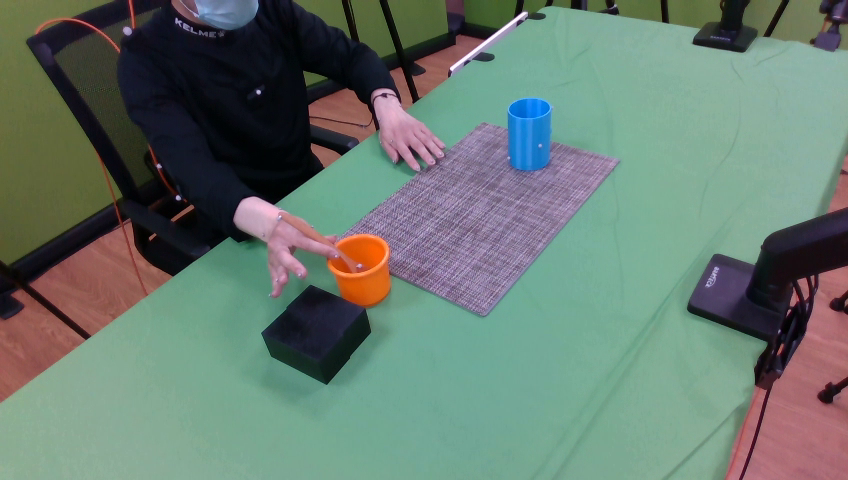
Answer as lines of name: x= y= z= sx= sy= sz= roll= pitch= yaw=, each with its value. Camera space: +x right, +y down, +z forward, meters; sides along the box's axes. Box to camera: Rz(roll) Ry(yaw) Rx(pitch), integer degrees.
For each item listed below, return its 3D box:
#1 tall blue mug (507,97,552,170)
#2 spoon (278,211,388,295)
tall blue mug: x=0.179 y=-0.198 z=1.101 sx=0.078 sy=0.108 sz=0.106 roll=-37 pitch=49 yaw=-28
spoon: x=-0.126 y=0.017 z=0.858 sx=0.021 sy=0.195 sz=0.041 roll=-21 pitch=36 yaw=44
